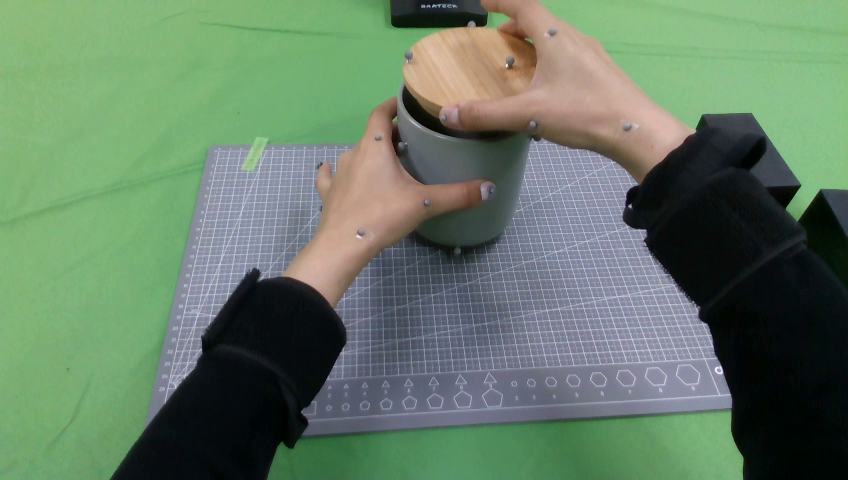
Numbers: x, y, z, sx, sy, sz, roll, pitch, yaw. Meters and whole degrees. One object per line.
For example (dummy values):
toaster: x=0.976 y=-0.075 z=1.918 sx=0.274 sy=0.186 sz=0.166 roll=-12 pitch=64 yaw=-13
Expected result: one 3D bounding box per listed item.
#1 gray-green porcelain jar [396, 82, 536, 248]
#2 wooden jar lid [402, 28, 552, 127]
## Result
gray-green porcelain jar: x=0.030 y=-0.064 z=0.497 sx=0.106 sy=0.127 sz=0.105 roll=2 pitch=49 yaw=-2
wooden jar lid: x=0.038 y=-0.117 z=0.439 sx=0.108 sy=0.021 sz=0.107 roll=1 pitch=48 yaw=0
